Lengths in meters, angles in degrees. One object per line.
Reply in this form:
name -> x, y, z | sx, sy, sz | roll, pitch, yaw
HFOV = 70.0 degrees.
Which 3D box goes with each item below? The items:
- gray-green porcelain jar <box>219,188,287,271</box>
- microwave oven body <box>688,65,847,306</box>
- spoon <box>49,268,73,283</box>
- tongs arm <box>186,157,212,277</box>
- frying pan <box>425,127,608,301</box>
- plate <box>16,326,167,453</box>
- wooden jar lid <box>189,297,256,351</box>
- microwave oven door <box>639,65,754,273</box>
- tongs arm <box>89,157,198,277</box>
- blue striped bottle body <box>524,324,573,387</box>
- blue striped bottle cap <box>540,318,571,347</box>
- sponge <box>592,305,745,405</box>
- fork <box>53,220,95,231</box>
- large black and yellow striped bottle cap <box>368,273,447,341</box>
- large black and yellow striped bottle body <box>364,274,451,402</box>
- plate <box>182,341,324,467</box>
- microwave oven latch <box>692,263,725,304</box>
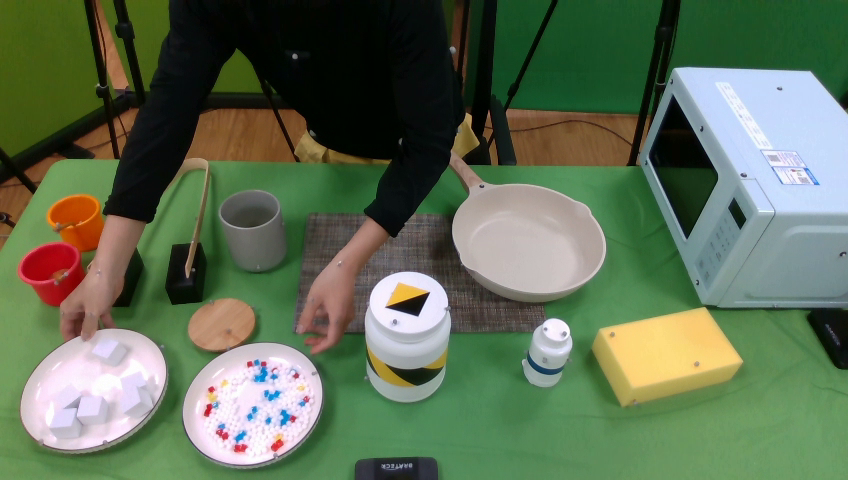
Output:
gray-green porcelain jar -> -0.309, -0.014, 1.113 | 0.106, 0.127, 0.105 | 2, 46, -2
microwave oven body -> 0.669, -0.111, 1.176 | 0.326, 0.261, 0.439 | 0, 46, -3
spoon -> -0.608, 0.059, 1.011 | 0.041, 0.021, 0.193 | -30, 11, -27
tongs arm -> -0.445, -0.058, 1.168 | 0.051, 0.026, 0.382 | -5, 37, -6
frying pan -> 0.144, -0.070, 1.208 | 0.307, 0.103, 0.485 | -23, 61, -25
plate -> -0.499, 0.228, 0.926 | 0.208, 0.039, 0.206 | 2, 49, -2
wooden jar lid -> -0.342, 0.145, 1.033 | 0.108, 0.021, 0.107 | 3, 45, -2
microwave oven door -> 0.522, -0.147, 1.193 | 0.039, 0.245, 0.353 | 0, 47, -3
tongs arm -> -0.529, -0.058, 1.164 | 0.028, 0.028, 0.385 | 1, 36, 8
blue striped bottle body -> 0.200, 0.178, 0.970 | 0.063, 0.121, 0.062 | 2, 46, -2
blue striped bottle cap -> 0.203, 0.142, 0.933 | 0.044, 0.021, 0.044 | 3, 49, -3
sponge -> 0.405, 0.190, 1.015 | 0.207, 0.061, 0.117 | -10, 48, -12
fork -> -0.627, -0.026, 1.086 | 0.028, 0.207, 0.018 | 0, 91, -15
large black and yellow striped bottle cap -> -0.023, 0.094, 0.875 | 0.115, 0.019, 0.114 | 2, 45, -2
large black and yellow striped bottle body -> -0.026, 0.151, 0.937 | 0.131, 0.185, 0.130 | 2, 47, -2
plate -> -0.257, 0.250, 0.927 | 0.209, 0.038, 0.208 | 3, 46, -3
microwave oven latch -> 0.522, 0.081, 1.115 | 0.030, 0.029, 0.078 | 1, 46, -2
